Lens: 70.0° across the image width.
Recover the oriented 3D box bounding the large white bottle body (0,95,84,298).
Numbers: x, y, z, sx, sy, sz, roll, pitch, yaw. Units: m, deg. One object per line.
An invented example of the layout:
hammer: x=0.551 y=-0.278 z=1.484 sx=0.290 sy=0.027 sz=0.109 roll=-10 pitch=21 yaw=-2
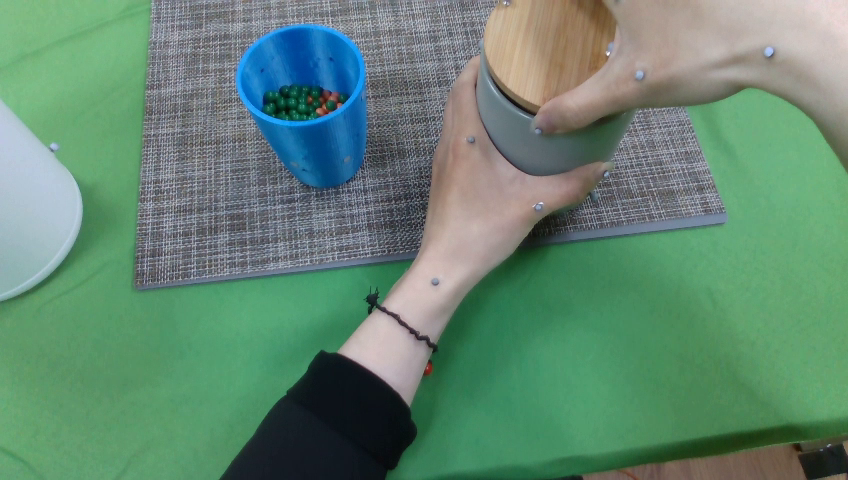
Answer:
large white bottle body: x=-0.320 y=-0.050 z=0.376 sx=0.131 sy=0.186 sz=0.129 roll=1 pitch=65 yaw=-1

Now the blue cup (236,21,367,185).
blue cup: x=-0.080 y=-0.090 z=0.443 sx=0.092 sy=0.101 sz=0.092 roll=0 pitch=66 yaw=0

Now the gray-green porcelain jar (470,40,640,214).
gray-green porcelain jar: x=0.087 y=-0.086 z=0.430 sx=0.106 sy=0.127 sz=0.105 roll=0 pitch=64 yaw=0

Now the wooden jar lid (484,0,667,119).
wooden jar lid: x=0.090 y=-0.116 z=0.367 sx=0.108 sy=0.021 sz=0.107 roll=-1 pitch=63 yaw=2
